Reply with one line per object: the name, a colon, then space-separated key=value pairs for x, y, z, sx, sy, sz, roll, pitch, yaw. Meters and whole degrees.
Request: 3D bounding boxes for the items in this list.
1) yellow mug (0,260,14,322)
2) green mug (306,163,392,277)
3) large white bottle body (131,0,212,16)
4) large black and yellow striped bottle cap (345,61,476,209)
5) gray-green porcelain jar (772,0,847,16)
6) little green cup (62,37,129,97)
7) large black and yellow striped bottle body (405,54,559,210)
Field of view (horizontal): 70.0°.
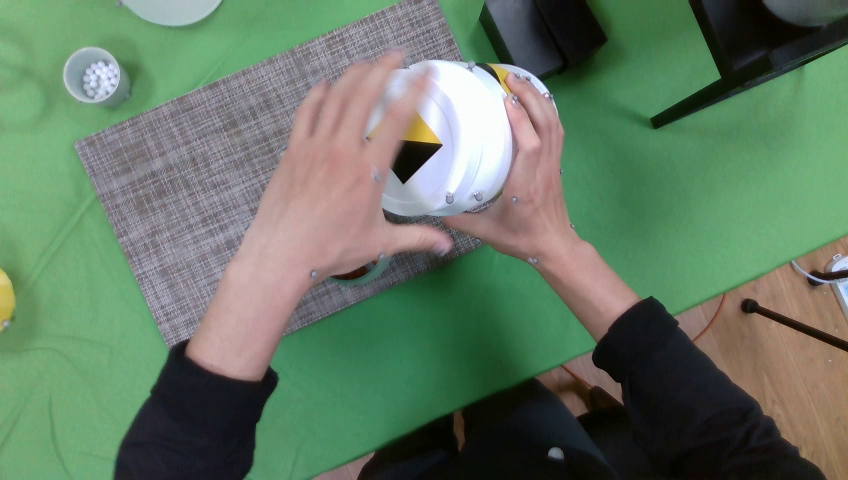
yellow mug: x=-0.519 y=0.073 z=0.657 sx=0.100 sy=0.064 sz=0.131 roll=8 pitch=91 yaw=-4
green mug: x=-0.084 y=-0.021 z=0.658 sx=0.092 sy=0.105 sz=0.125 roll=-8 pitch=90 yaw=-2
large white bottle body: x=-0.286 y=-0.321 z=0.609 sx=0.131 sy=0.184 sz=0.130 roll=0 pitch=90 yaw=-2
large black and yellow striped bottle cap: x=-0.014 y=-0.082 z=0.480 sx=0.114 sy=0.019 sz=0.115 roll=8 pitch=108 yaw=29
gray-green porcelain jar: x=0.348 y=-0.252 z=0.495 sx=0.106 sy=0.126 sz=0.106 roll=0 pitch=89 yaw=-3
little green cup: x=-0.365 y=-0.190 z=0.678 sx=0.061 sy=0.038 sz=0.061 roll=0 pitch=91 yaw=-3
large black and yellow striped bottle body: x=0.031 y=-0.100 z=0.548 sx=0.130 sy=0.184 sz=0.131 roll=10 pitch=109 yaw=30
